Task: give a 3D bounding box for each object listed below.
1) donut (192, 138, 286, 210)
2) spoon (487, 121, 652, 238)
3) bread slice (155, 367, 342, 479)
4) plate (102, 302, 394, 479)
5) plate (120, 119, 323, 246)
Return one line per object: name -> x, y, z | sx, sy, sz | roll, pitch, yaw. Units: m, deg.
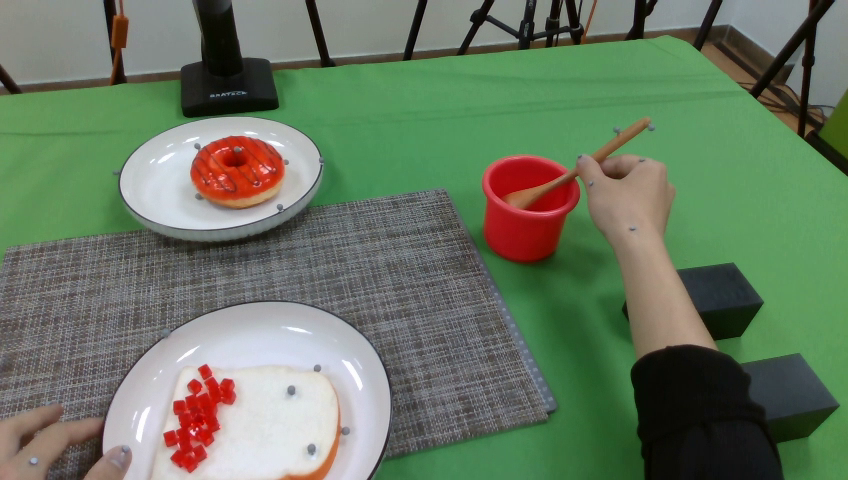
donut -> -0.198, -0.071, 0.653 | 0.099, 0.048, 0.098 | 3, 45, -3
spoon -> 0.140, -0.060, 0.606 | 0.193, 0.022, 0.041 | -32, 38, 20
bread slice -> -0.128, 0.140, 0.459 | 0.132, 0.019, 0.104 | -1, 45, -3
plate -> -0.126, 0.136, 0.459 | 0.209, 0.038, 0.207 | 3, 44, -2
plate -> -0.213, -0.061, 0.658 | 0.208, 0.039, 0.205 | 3, 42, -2
